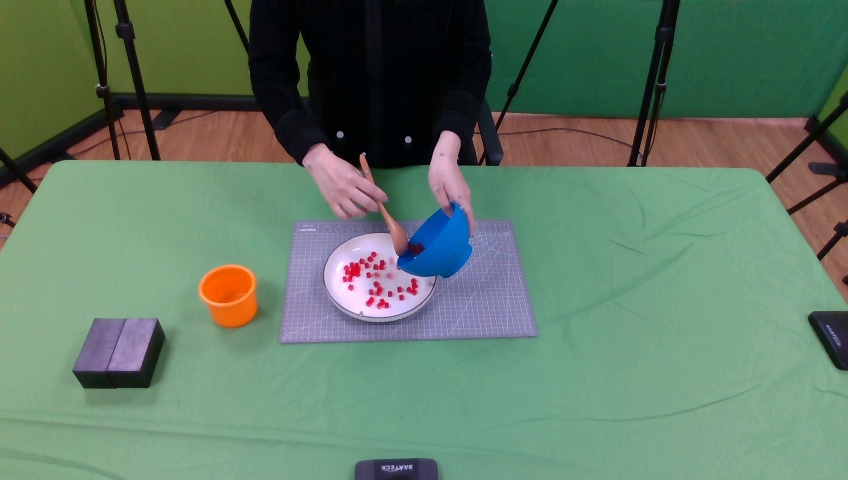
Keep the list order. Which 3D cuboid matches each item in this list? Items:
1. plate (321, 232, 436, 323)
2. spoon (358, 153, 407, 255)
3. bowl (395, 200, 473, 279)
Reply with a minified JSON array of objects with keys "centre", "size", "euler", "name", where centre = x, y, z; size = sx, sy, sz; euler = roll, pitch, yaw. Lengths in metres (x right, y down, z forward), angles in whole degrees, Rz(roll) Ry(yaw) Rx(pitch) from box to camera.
[{"centre":[-0.083,0.070,1.109],"size":[0.209,0.038,0.208],"euler":[3,46,-3],"name":"plate"},{"centre":[-0.072,-0.059,1.034],"size":[0.021,0.194,0.041],"euler":[-9,25,40],"name":"spoon"},{"centre":[0.030,0.013,1.037],"size":[0.077,0.151,0.151],"euler":[42,48,-13],"name":"bowl"}]
